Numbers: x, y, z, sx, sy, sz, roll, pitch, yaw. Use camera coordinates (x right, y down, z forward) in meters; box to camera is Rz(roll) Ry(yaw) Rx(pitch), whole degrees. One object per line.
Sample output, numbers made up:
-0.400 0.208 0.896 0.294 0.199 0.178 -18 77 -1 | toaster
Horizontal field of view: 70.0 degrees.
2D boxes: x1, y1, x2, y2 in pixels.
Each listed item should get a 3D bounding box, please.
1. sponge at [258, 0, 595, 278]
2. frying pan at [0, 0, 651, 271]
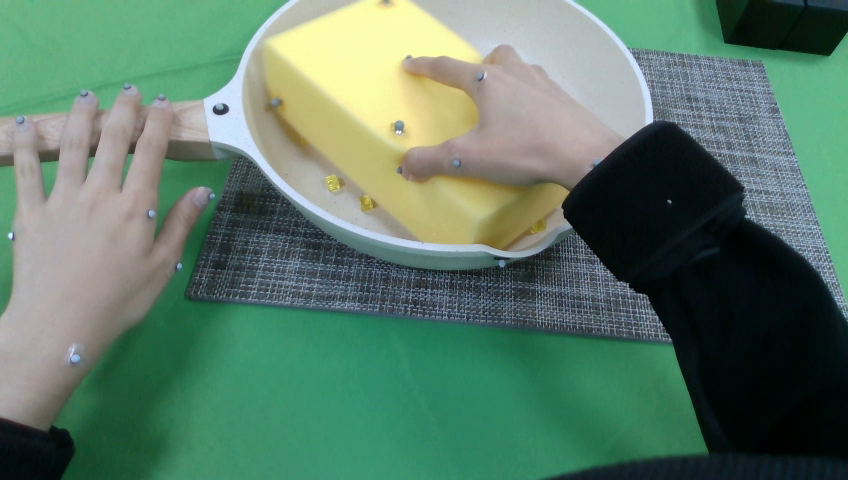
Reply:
-0.003 -0.083 0.426 0.205 0.061 0.118 40 59 21 | sponge
-0.085 -0.083 0.419 0.489 0.103 0.303 -7 55 -18 | frying pan
